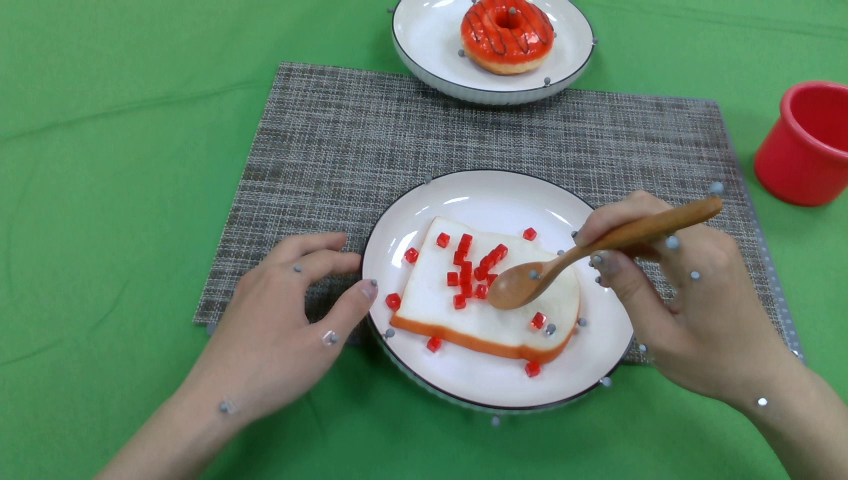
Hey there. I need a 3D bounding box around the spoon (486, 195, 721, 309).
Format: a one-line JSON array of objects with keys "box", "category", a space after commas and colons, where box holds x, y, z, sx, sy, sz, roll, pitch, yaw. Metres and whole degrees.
[{"box": [0.091, 0.010, 0.357, 0.022, 0.194, 0.041, 35, 63, -8], "category": "spoon"}]

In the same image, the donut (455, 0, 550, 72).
[{"box": [0.080, -0.212, 0.621, 0.099, 0.048, 0.098, 3, 56, -4], "category": "donut"}]

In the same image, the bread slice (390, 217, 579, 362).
[{"box": [0.051, 0.036, 0.460, 0.131, 0.019, 0.104, 14, 55, 8], "category": "bread slice"}]

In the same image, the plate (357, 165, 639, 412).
[{"box": [0.054, 0.032, 0.459, 0.209, 0.038, 0.207, 2, 55, -2], "category": "plate"}]

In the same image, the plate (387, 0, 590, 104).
[{"box": [0.065, -0.207, 0.631, 0.208, 0.039, 0.205, 3, 53, -3], "category": "plate"}]
